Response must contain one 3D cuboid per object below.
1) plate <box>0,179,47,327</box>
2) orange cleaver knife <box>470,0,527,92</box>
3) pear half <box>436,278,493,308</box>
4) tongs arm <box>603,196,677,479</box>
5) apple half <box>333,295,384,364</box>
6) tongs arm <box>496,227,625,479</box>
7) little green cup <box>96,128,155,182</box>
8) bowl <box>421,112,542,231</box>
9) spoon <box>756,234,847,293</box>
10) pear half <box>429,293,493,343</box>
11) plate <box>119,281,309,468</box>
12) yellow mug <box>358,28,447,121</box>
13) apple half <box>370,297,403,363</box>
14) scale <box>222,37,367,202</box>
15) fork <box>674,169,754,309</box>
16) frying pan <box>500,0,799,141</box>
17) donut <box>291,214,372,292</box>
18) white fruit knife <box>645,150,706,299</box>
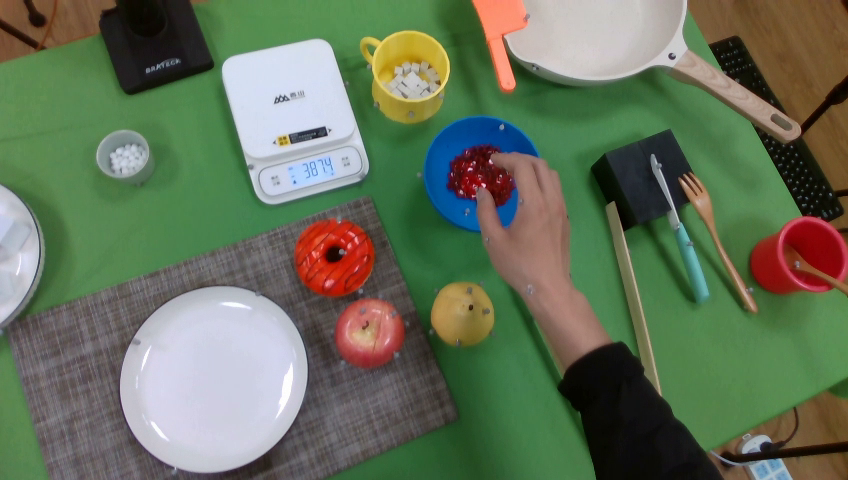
[{"bbox_3d":[-0.543,0.021,0.699,0.208,0.039,0.206,2,77,-6],"label":"plate"},{"bbox_3d":[0.094,-0.295,0.792,0.077,0.012,0.210,-16,80,-7],"label":"orange cleaver knife"},{"bbox_3d":[0.050,0.061,0.730,0.070,0.088,0.031,9,76,-2],"label":"pear half"},{"bbox_3d":[0.271,0.130,0.772,0.028,0.028,0.385,-5,78,-16],"label":"tongs arm"},{"bbox_3d":[-0.080,0.102,0.710,0.053,0.075,0.080,11,79,0],"label":"apple half"},{"bbox_3d":[0.189,0.152,0.753,0.051,0.026,0.383,-20,81,-15],"label":"tongs arm"},{"bbox_3d":[-0.365,-0.102,0.748,0.061,0.039,0.061,1,76,-5],"label":"little green cup"},{"bbox_3d":[0.067,-0.077,0.770,0.151,0.077,0.150,1,77,-6],"label":"bowl"},{"bbox_3d":[0.500,0.046,0.756,0.041,0.022,0.191,-26,37,-12],"label":"spoon"},{"bbox_3d":[0.044,0.092,0.712,0.076,0.110,0.055,10,76,0],"label":"pear half"},{"bbox_3d":[-0.236,0.152,0.699,0.209,0.038,0.208,2,76,-6],"label":"plate"},{"bbox_3d":[-0.035,-0.226,0.799,0.130,0.064,0.100,35,76,4],"label":"yellow mug"},{"bbox_3d":[-0.042,0.109,0.711,0.033,0.081,0.081,12,75,0],"label":"apple half"},{"bbox_3d":[-0.169,-0.159,0.786,0.149,0.031,0.200,-17,80,-9],"label":"scale"},{"bbox_3d":[0.383,0.000,0.795,0.028,0.018,0.208,-31,97,-15],"label":"fork"},{"bbox_3d":[0.291,-0.282,0.830,0.485,0.103,0.306,39,77,12],"label":"frying pan"},{"bbox_3d":[-0.113,0.016,0.741,0.099,0.048,0.098,1,77,-4],"label":"donut"},{"bbox_3d":[0.325,-0.019,0.785,0.016,0.027,0.207,-23,95,-10],"label":"white fruit knife"}]
